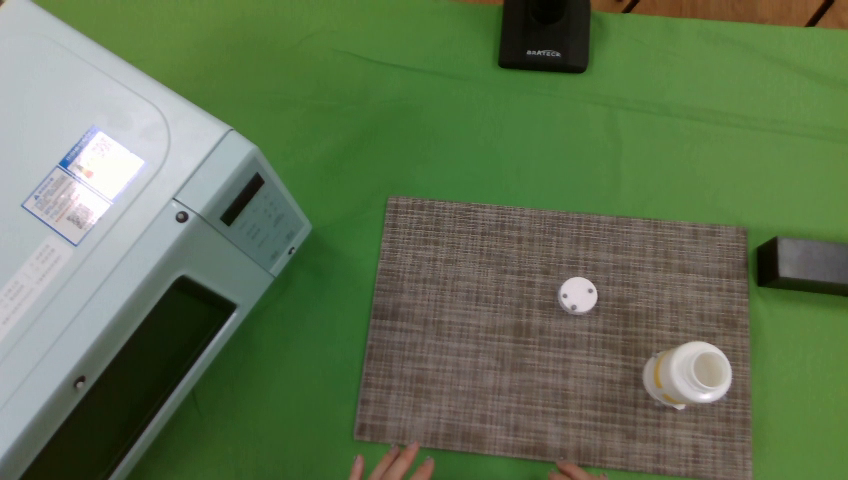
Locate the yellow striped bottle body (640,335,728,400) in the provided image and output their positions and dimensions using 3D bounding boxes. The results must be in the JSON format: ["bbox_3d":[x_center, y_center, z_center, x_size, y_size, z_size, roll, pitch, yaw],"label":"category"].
[{"bbox_3d":[0.280,0.138,0.651,0.063,0.121,0.062,0,73,2],"label":"yellow striped bottle body"}]

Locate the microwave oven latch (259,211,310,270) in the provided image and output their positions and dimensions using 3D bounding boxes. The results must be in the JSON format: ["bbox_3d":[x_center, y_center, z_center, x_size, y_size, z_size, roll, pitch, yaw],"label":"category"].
[{"bbox_3d":[-0.171,-0.004,0.732,0.030,0.029,0.079,34,79,10],"label":"microwave oven latch"}]

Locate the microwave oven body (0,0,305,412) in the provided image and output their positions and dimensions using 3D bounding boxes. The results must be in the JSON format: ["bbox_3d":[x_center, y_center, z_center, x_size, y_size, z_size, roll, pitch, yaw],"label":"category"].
[{"bbox_3d":[-0.395,0.035,0.627,0.325,0.261,0.441,32,78,9],"label":"microwave oven body"}]

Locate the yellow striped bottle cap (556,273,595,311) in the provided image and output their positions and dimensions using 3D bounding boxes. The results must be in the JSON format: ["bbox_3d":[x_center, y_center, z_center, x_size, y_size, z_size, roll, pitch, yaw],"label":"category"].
[{"bbox_3d":[0.182,0.062,0.730,0.044,0.019,0.044,-1,74,3],"label":"yellow striped bottle cap"}]

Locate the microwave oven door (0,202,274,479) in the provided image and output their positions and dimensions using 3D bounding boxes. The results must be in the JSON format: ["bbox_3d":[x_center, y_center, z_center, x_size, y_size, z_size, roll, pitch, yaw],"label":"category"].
[{"bbox_3d":[-0.297,0.143,0.589,0.039,0.245,0.355,32,78,11],"label":"microwave oven door"}]
